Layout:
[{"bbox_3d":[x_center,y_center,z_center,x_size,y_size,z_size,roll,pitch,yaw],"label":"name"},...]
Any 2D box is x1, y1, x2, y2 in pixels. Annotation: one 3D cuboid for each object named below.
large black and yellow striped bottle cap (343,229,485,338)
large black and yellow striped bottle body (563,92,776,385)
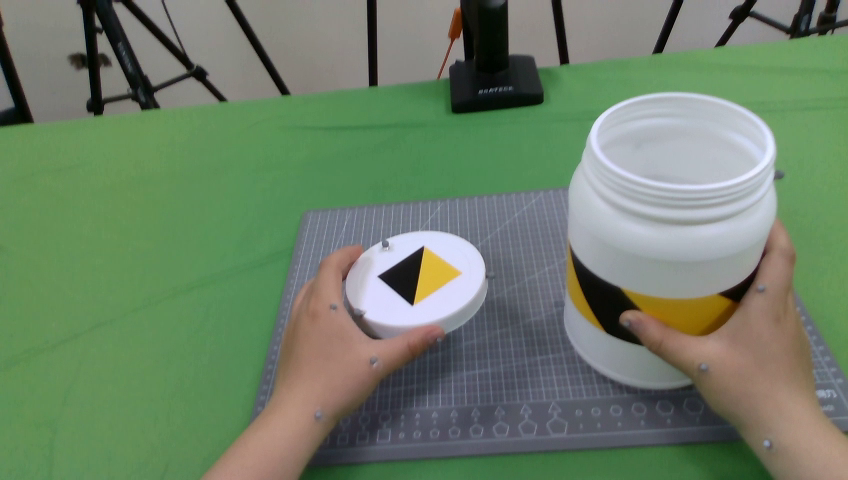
[{"bbox_3d":[-0.008,0.031,0.489,0.115,0.019,0.114,-5,39,4],"label":"large black and yellow striped bottle cap"},{"bbox_3d":[0.169,0.002,0.436,0.131,0.186,0.129,-5,42,5],"label":"large black and yellow striped bottle body"}]
